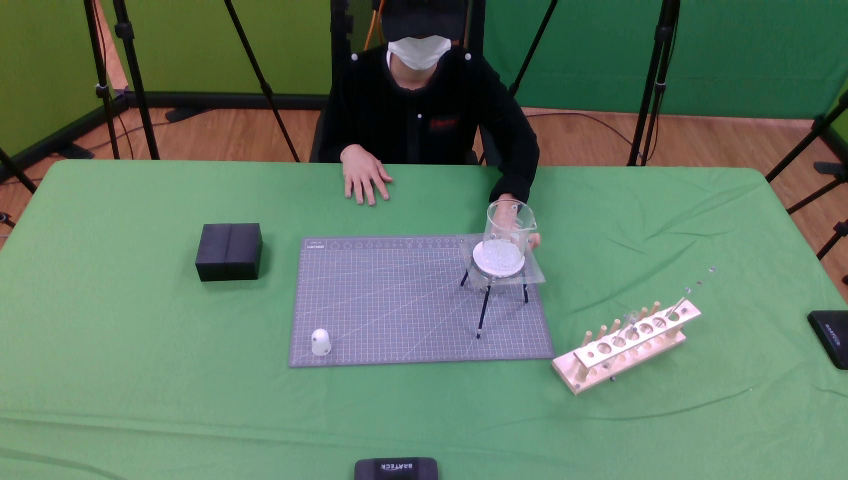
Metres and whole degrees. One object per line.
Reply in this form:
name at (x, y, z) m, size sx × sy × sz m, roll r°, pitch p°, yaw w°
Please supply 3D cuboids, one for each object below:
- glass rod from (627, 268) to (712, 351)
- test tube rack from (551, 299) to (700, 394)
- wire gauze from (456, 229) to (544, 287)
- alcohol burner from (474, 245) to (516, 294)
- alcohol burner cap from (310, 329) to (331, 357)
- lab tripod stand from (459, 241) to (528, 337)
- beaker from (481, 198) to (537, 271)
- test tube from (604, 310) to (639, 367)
glass rod at (0.399, 0.117, 0.995) m, size 0.008 × 0.200 × 0.008 m, roll 26°, pitch 29°, yaw -15°
test tube rack at (0.339, 0.166, 1.021) m, size 0.242 × 0.085 × 0.066 m, roll -19°, pitch 50°, yaw -21°
wire gauze at (0.125, 0.030, 1.008) m, size 0.125 × 0.011 × 0.120 m, roll -3°, pitch 48°, yaw -11°
alcohol burner at (0.131, 0.043, 1.100) m, size 0.078 × 0.119 × 0.077 m, roll 2°, pitch 47°, yaw -2°
alcohol burner cap at (-0.173, 0.168, 1.005) m, size 0.034 × 0.048 × 0.033 m, roll 2°, pitch 46°, yaw -2°
lab tripod stand at (0.122, 0.075, 1.054) m, size 0.148 × 0.132 × 0.147 m, roll 3°, pitch 44°, yaw -3°
beaker at (0.133, -0.005, 0.974) m, size 0.084 × 0.101 × 0.074 m, roll 23°, pitch 49°, yaw 16°
test tube at (0.310, 0.158, 0.957) m, size 0.017 × 0.151 × 0.017 m, roll 1°, pitch 49°, yaw -1°
